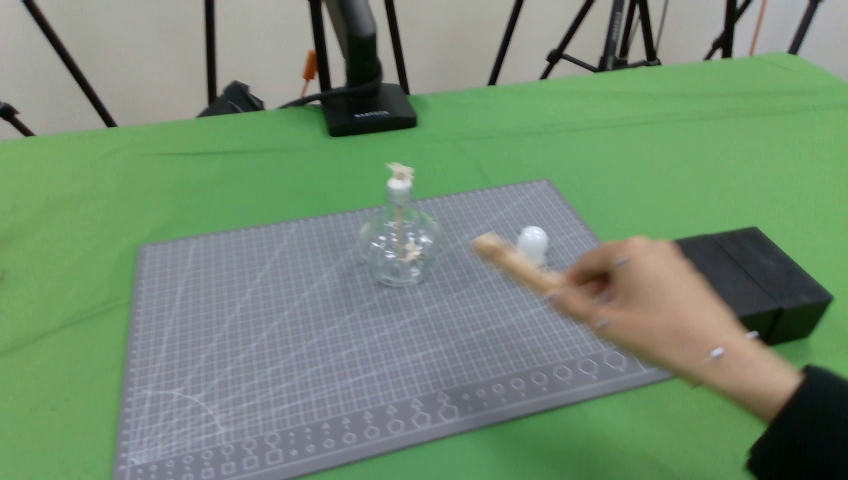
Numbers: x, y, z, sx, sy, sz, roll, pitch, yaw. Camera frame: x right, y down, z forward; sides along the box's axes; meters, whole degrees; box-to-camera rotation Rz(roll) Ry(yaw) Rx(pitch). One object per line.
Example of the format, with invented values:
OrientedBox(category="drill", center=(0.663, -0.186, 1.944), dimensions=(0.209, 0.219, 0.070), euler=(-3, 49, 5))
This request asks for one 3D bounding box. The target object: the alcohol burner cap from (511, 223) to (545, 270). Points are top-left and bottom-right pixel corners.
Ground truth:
OrientedBox(category="alcohol burner cap", center=(0.099, 0.006, 0.577), dimensions=(0.034, 0.048, 0.033), euler=(0, 39, 0))

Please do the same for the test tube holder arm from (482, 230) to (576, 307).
OrientedBox(category="test tube holder arm", center=(0.076, 0.020, 0.440), dimensions=(0.010, 0.015, 0.087), euler=(-30, 49, -31))

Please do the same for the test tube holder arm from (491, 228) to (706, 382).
OrientedBox(category="test tube holder arm", center=(0.111, 0.039, 0.418), dimensions=(0.013, 0.015, 0.176), euler=(-31, 49, -32))

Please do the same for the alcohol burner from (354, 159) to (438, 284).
OrientedBox(category="alcohol burner", center=(-0.026, -0.019, 0.549), dimensions=(0.078, 0.120, 0.077), euler=(0, 38, 1))
